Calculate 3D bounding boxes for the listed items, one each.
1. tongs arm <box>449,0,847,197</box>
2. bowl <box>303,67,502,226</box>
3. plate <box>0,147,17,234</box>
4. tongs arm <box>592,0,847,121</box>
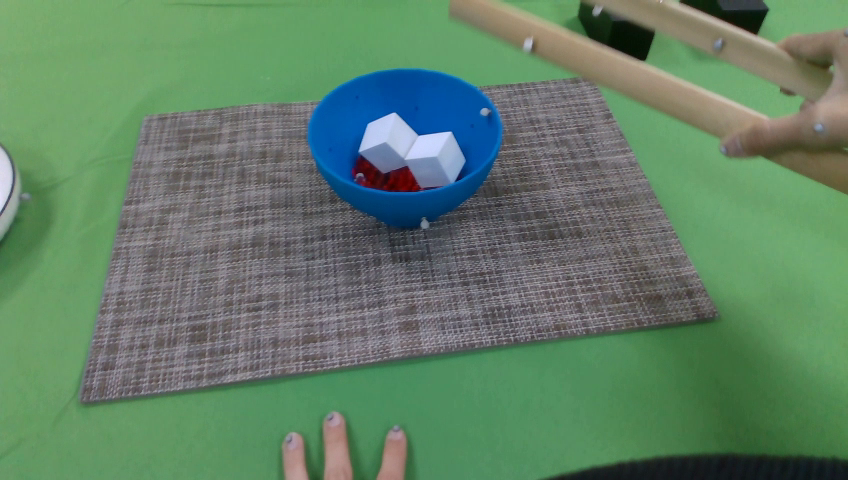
[{"bbox_3d":[0.178,-0.082,0.371,0.385,0.028,0.028,30,52,18],"label":"tongs arm"},{"bbox_3d":[-0.017,-0.065,0.492,0.151,0.077,0.150,0,50,0],"label":"bowl"},{"bbox_3d":[-0.430,-0.011,0.474,0.209,0.038,0.207,1,51,-1],"label":"plate"},{"bbox_3d":[0.210,-0.112,0.396,0.382,0.027,0.050,34,56,20],"label":"tongs arm"}]
